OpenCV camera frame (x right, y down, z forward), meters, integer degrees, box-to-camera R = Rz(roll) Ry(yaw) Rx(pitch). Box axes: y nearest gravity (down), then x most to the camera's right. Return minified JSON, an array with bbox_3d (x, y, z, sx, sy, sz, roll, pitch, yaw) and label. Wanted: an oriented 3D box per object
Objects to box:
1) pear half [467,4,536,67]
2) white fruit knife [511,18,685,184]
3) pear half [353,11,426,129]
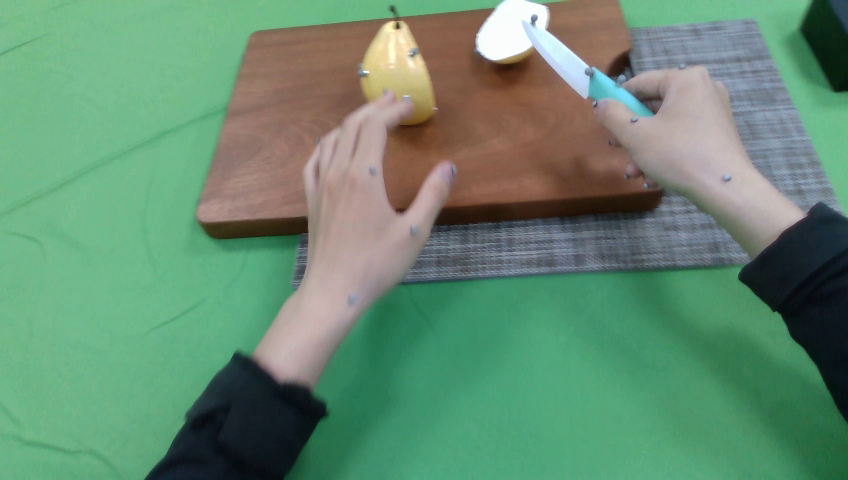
[{"bbox_3d":[0.079,-0.197,0.595,0.070,0.031,0.087,-11,47,18],"label":"pear half"},{"bbox_3d":[0.129,-0.120,0.477,0.016,0.027,0.205,-13,52,-36],"label":"white fruit knife"},{"bbox_3d":[-0.037,-0.147,0.531,0.056,0.111,0.075,-29,52,-12],"label":"pear half"}]
